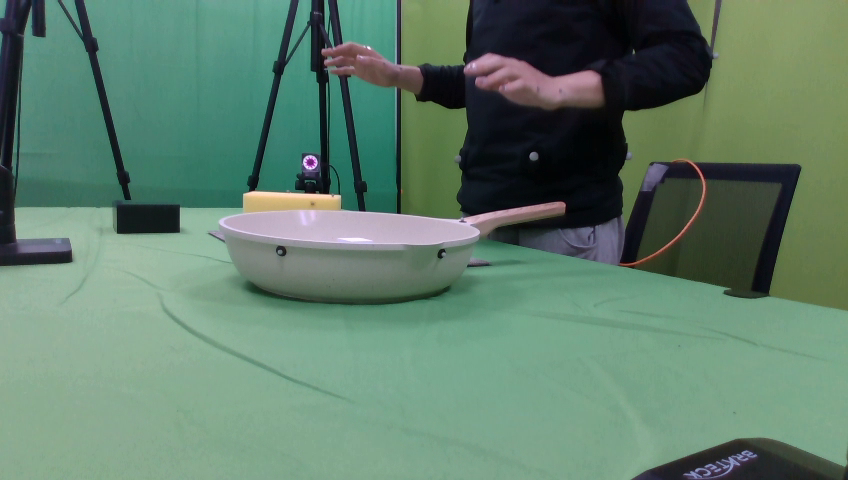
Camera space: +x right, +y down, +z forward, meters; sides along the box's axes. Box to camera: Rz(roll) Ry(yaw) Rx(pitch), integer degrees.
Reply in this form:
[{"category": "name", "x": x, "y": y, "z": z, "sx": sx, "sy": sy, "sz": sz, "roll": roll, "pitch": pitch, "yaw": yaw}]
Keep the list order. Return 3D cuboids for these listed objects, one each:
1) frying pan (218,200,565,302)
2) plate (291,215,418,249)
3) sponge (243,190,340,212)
[{"category": "frying pan", "x": 0.003, "y": -0.010, "z": 0.754, "sx": 0.490, "sy": 0.102, "sz": 0.305, "roll": -12, "pitch": 16, "yaw": -32}, {"category": "plate", "x": -0.115, "y": -0.013, "z": 1.002, "sx": 0.208, "sy": 0.039, "sz": 0.207, "roll": 2, "pitch": 7, "yaw": 0}, {"category": "sponge", "x": -0.298, "y": -0.077, "z": 1.388, "sx": 0.207, "sy": 0.061, "sz": 0.118, "roll": 2, "pitch": 8, "yaw": -7}]
